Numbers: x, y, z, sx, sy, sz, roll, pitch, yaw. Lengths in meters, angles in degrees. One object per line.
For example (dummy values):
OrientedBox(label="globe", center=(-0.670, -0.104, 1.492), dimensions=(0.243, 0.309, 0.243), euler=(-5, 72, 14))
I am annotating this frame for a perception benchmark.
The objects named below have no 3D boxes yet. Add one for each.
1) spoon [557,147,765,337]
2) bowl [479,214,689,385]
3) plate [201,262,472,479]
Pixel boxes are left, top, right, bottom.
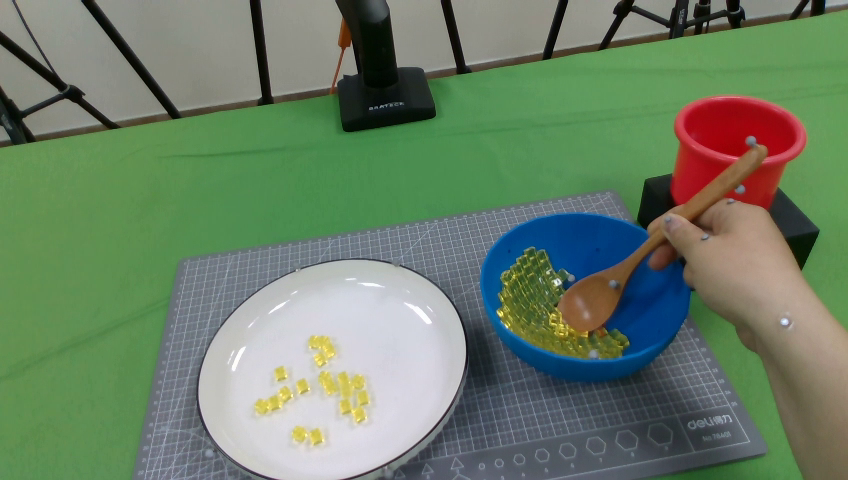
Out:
OrientedBox(label="spoon", center=(0.166, 0.007, 0.441), dimensions=(0.022, 0.194, 0.041), euler=(7, 44, -38))
OrientedBox(label="bowl", center=(0.119, 0.058, 0.470), dimensions=(0.151, 0.077, 0.150), euler=(-4, 43, 4))
OrientedBox(label="plate", center=(-0.065, 0.102, 0.477), dimensions=(0.207, 0.039, 0.205), euler=(-4, 43, 4))
